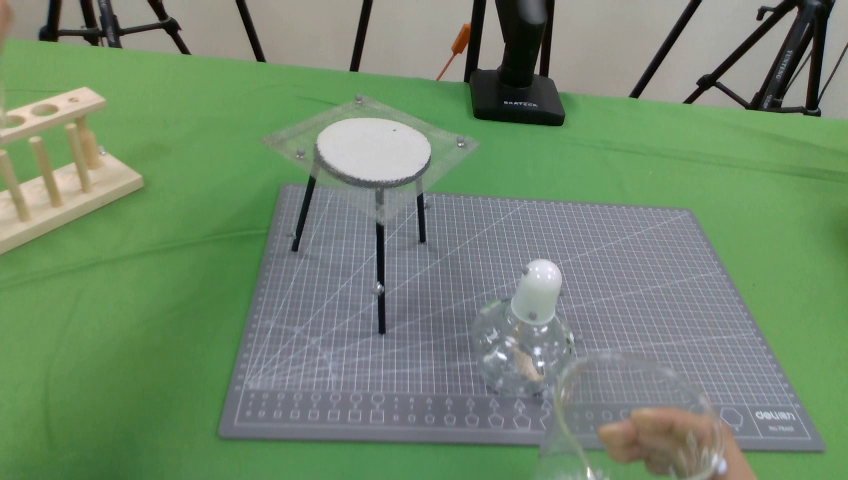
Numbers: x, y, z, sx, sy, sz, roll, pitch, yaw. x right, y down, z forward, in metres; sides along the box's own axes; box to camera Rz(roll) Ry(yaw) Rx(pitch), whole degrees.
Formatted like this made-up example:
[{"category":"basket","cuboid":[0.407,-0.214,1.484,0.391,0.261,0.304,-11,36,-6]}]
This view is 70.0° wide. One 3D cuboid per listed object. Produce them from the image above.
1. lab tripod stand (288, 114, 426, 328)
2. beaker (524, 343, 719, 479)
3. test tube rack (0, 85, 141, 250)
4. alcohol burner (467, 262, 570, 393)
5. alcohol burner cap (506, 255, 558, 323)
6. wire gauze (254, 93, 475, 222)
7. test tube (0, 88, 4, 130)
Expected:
[{"category":"lab tripod stand","cuboid":[-0.047,-0.023,0.503,0.148,0.132,0.147,6,42,-5]},{"category":"beaker","cuboid":[0.087,0.114,0.296,0.073,0.101,0.084,21,40,20]},{"category":"test tube rack","cuboid":[-0.376,-0.044,0.513,0.066,0.086,0.242,30,45,23]},{"category":"alcohol burner","cuboid":[0.073,0.058,0.447,0.078,0.120,0.077,6,41,-5]},{"category":"alcohol burner cap","cuboid":[0.077,0.032,0.422,0.034,0.048,0.033,3,46,-2]},{"category":"wire gauze","cuboid":[-0.042,-0.073,0.458,0.124,0.011,0.121,31,47,22]},{"category":"test tube","cuboid":[-0.258,-0.126,0.350,0.017,0.151,0.017,15,38,-12]}]
